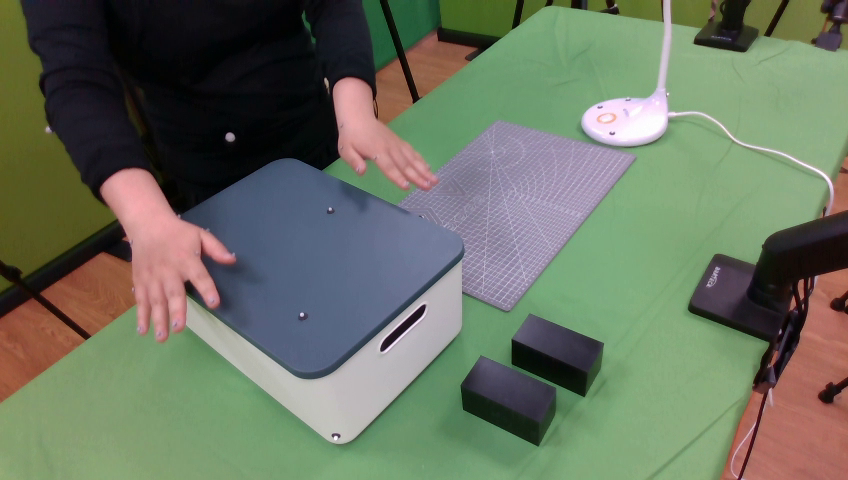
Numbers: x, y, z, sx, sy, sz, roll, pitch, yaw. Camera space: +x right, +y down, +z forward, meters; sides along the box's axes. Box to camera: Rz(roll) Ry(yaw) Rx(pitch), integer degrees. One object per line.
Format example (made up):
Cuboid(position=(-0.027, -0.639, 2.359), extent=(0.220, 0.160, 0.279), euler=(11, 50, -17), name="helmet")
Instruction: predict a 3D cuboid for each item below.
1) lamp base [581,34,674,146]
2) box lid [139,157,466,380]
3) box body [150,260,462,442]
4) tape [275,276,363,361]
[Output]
Cuboid(position=(0.392, -0.291, 1.129), extent=(0.180, 0.181, 0.159), euler=(-11, 41, -8), name="lamp base")
Cuboid(position=(-0.158, 0.009, 0.757), extent=(0.368, 0.015, 0.264), euler=(26, 50, 33), name="box lid")
Cuboid(position=(-0.152, 0.064, 0.807), extent=(0.361, 0.161, 0.255), euler=(26, 51, 32), name="box body")
Cuboid(position=(-0.143, 0.107, 0.831), extent=(0.117, 0.053, 0.116), euler=(-4, 41, 4), name="tape")
